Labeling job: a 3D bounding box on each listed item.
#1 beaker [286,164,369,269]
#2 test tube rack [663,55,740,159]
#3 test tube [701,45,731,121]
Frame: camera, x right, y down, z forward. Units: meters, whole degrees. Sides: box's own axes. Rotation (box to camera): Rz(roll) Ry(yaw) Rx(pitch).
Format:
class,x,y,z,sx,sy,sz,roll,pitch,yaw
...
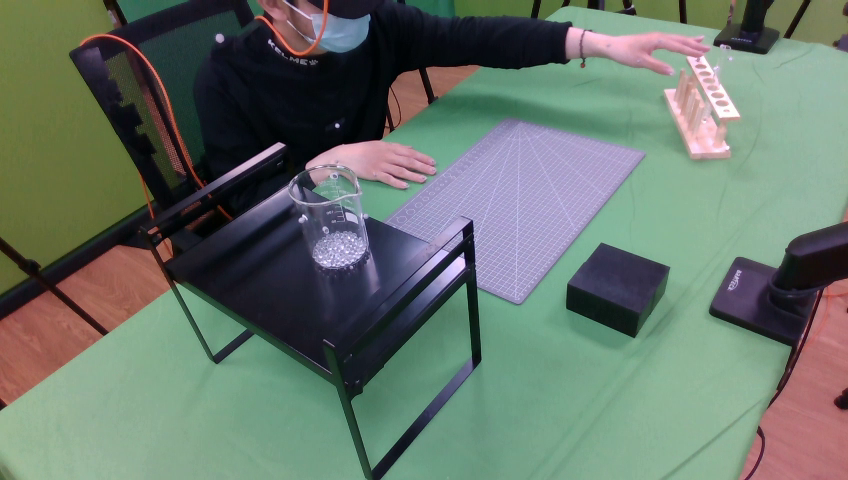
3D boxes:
class,x,y,z,sx,sy,sz,roll,pitch,yaw
beaker,-0.101,-0.024,0.676,0.083,0.101,0.074,8,43,17
test tube rack,0.518,-0.257,1.144,0.066,0.085,0.241,-1,41,8
test tube,0.528,-0.281,1.095,0.017,0.151,0.017,-3,46,3
